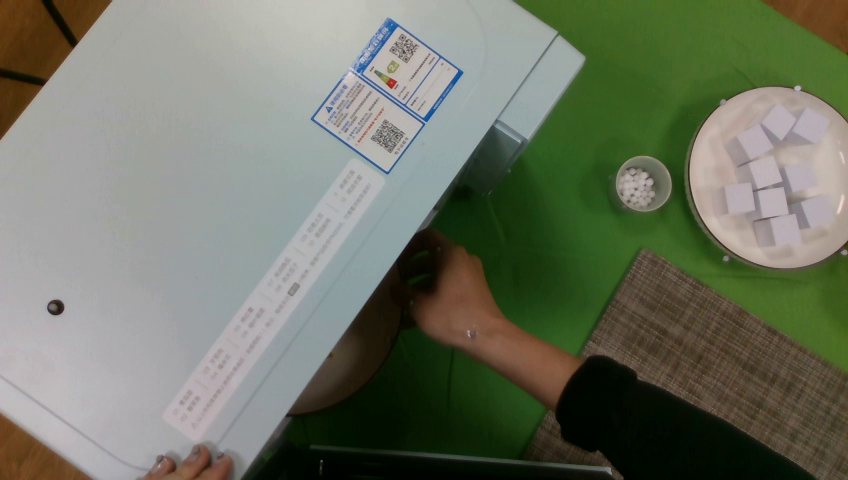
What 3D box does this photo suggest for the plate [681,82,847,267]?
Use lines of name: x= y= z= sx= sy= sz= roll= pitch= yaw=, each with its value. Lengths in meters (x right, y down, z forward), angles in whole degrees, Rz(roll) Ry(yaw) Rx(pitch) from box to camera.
plate: x=0.388 y=-0.072 z=0.682 sx=0.208 sy=0.039 sz=0.207 roll=0 pitch=85 yaw=-3

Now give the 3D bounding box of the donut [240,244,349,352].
donut: x=-0.118 y=0.052 z=0.554 sx=0.099 sy=0.048 sz=0.099 roll=0 pitch=91 yaw=-8

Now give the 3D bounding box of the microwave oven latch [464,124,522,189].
microwave oven latch: x=0.076 y=-0.095 z=0.649 sx=0.030 sy=0.029 sz=0.079 roll=39 pitch=85 yaw=1

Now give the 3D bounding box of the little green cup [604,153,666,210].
little green cup: x=0.231 y=-0.062 z=0.672 sx=0.061 sy=0.038 sz=0.061 roll=0 pitch=86 yaw=-1

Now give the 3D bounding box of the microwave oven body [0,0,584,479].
microwave oven body: x=-0.143 y=-0.043 z=0.537 sx=0.326 sy=0.260 sz=0.441 roll=35 pitch=85 yaw=0

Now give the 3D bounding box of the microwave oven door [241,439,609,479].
microwave oven door: x=0.023 y=0.228 z=0.517 sx=0.356 sy=0.244 sz=0.039 roll=5 pitch=84 yaw=-2

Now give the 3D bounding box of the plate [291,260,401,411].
plate: x=-0.124 y=0.051 z=0.564 sx=0.209 sy=0.038 sz=0.208 roll=0 pitch=86 yaw=1
